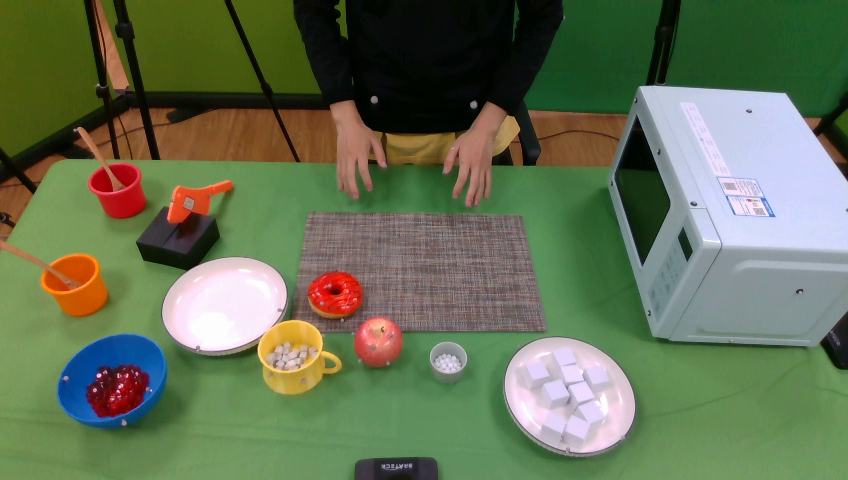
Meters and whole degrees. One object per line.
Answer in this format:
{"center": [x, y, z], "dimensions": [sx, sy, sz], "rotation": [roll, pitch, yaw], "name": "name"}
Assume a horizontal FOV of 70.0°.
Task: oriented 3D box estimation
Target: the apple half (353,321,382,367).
{"center": [-0.098, 0.177, 0.984], "dimensions": [0.033, 0.081, 0.081], "rotation": [-17, 49, -25], "name": "apple half"}

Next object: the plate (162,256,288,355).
{"center": [-0.341, 0.115, 1.051], "dimensions": [0.209, 0.038, 0.208], "rotation": [3, 46, -2], "name": "plate"}

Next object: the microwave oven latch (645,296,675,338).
{"center": [0.411, 0.134, 1.061], "dimensions": [0.030, 0.029, 0.078], "rotation": [3, 45, 0], "name": "microwave oven latch"}

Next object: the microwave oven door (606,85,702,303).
{"center": [0.422, -0.094, 1.140], "dimensions": [0.039, 0.245, 0.353], "rotation": [2, 46, -1], "name": "microwave oven door"}

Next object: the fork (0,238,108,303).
{"center": [-0.633, 0.048, 1.017], "dimensions": [0.208, 0.018, 0.028], "rotation": [40, 42, -27], "name": "fork"}

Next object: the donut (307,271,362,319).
{"center": [-0.157, 0.097, 1.072], "dimensions": [0.099, 0.048, 0.098], "rotation": [4, 45, -3], "name": "donut"}

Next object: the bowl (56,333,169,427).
{"center": [-0.456, 0.223, 0.911], "dimensions": [0.151, 0.077, 0.150], "rotation": [3, 45, -2], "name": "bowl"}

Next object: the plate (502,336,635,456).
{"center": [0.225, 0.248, 0.963], "dimensions": [0.208, 0.039, 0.206], "rotation": [2, 46, -2], "name": "plate"}

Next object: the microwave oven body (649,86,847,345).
{"center": [0.567, -0.053, 1.118], "dimensions": [0.326, 0.261, 0.439], "rotation": [2, 45, -1], "name": "microwave oven body"}

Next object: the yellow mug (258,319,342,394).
{"center": [-0.196, 0.189, 0.972], "dimensions": [0.131, 0.064, 0.099], "rotation": [9, 46, 4], "name": "yellow mug"}

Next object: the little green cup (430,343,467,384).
{"center": [0.039, 0.203, 0.994], "dimensions": [0.061, 0.039, 0.061], "rotation": [2, 46, -2], "name": "little green cup"}

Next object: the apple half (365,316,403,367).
{"center": [-0.063, 0.165, 1.000], "dimensions": [0.053, 0.075, 0.080], "rotation": [-16, 45, -24], "name": "apple half"}

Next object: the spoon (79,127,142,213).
{"center": [-0.624, -0.139, 1.203], "dimensions": [0.041, 0.021, 0.194], "rotation": [-33, 100, -26], "name": "spoon"}

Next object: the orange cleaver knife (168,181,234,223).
{"center": [-0.436, -0.078, 1.196], "dimensions": [0.012, 0.077, 0.211], "rotation": [15, 15, 10], "name": "orange cleaver knife"}
